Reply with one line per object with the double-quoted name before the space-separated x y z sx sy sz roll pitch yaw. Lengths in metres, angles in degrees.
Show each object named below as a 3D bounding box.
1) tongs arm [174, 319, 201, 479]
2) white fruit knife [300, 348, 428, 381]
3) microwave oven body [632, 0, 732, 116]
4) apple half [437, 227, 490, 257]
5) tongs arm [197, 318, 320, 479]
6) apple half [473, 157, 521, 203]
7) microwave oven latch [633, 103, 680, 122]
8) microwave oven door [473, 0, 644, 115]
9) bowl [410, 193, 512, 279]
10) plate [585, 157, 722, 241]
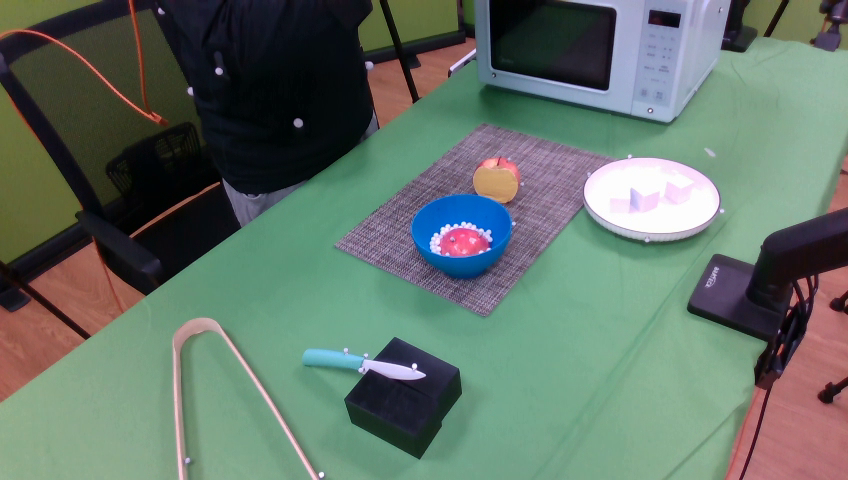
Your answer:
"tongs arm" -0.272 0.234 0.723 0.051 0.026 0.381 -18 40 -15
"white fruit knife" -0.079 0.154 0.748 0.206 0.027 0.016 1 20 34
"microwave oven body" 0.377 -0.463 1.267 0.438 0.261 0.327 21 48 30
"apple half" 0.056 0.002 0.902 0.081 0.033 0.081 -3 42 3
"tongs arm" -0.200 0.208 0.751 0.028 0.028 0.384 -31 45 -22
"apple half" 0.128 -0.107 1.030 0.080 0.075 0.053 4 38 19
"microwave oven latch" 0.443 -0.249 1.157 0.078 0.029 0.030 20 48 30
"microwave oven door" 0.257 -0.396 1.199 0.353 0.245 0.039 21 48 29
"bowl" 0.058 0.005 0.905 0.151 0.077 0.150 -4 40 4
"plate" 0.367 -0.063 0.979 0.207 0.039 0.206 -4 41 4
